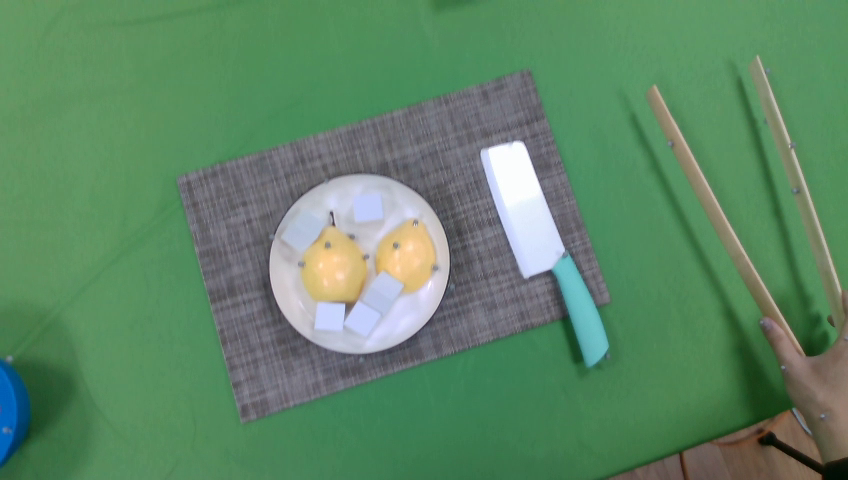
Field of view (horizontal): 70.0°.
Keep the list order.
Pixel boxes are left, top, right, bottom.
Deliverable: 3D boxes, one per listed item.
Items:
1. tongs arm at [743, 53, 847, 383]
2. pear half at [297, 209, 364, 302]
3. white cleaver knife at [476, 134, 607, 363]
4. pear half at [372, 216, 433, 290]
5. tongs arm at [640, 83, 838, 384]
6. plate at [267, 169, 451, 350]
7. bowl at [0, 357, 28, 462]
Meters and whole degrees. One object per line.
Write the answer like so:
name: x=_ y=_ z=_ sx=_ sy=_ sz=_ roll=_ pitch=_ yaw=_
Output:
tongs arm: x=0.417 y=-0.032 z=0.693 sx=0.051 sy=0.026 sz=0.383 roll=-13 pitch=80 yaw=-7
pear half: x=-0.108 y=0.014 z=0.687 sx=0.076 sy=0.056 sz=0.109 roll=-7 pitch=78 yaw=-5
white cleaver knife: x=0.136 y=0.009 z=0.716 sx=0.066 sy=0.021 sz=0.285 roll=-22 pitch=79 yaw=7
pear half: x=-0.024 y=0.014 z=0.696 sx=0.070 sy=0.031 sz=0.088 roll=14 pitch=88 yaw=-2
tongs arm: x=0.345 y=-0.010 z=0.685 sx=0.028 sy=0.028 sz=0.386 roll=-24 pitch=81 yaw=-12
plate: x=-0.073 y=0.022 z=0.700 sx=0.208 sy=0.039 sz=0.207 roll=0 pitch=82 yaw=0
bowl: x=-0.496 y=0.187 z=0.660 sx=0.151 sy=0.077 sz=0.151 roll=0 pitch=82 yaw=0
